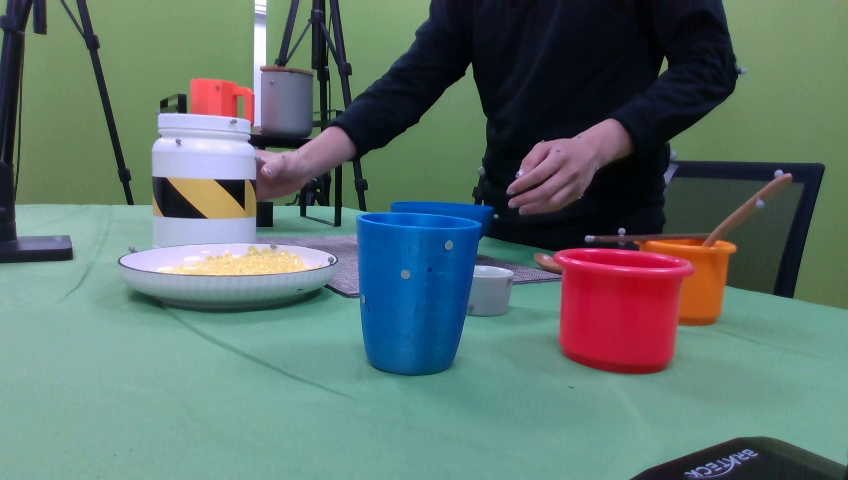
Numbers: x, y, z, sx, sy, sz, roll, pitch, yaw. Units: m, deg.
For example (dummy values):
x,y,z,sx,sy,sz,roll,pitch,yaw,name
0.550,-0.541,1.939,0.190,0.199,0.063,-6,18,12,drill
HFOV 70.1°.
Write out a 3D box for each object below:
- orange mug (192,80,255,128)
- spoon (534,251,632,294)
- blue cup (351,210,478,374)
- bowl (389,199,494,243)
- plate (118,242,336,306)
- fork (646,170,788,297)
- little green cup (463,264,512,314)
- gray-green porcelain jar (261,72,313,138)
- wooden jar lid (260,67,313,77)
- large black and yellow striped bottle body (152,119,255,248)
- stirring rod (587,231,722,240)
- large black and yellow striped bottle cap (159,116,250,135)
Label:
x,y,z,sx,sy,sz,roll,pitch,yaw,name
-0.388,-0.257,1.172,0.126,0.100,0.083,-1,7,9,orange mug
0.193,0.038,0.753,0.042,0.021,0.193,15,2,-21,spoon
-0.009,0.034,0.413,0.093,0.100,0.092,3,8,0,blue cup
0.023,-0.015,0.872,0.151,0.077,0.151,3,7,0,bowl
-0.194,0.033,0.615,0.209,0.038,0.209,2,7,0,plate
0.256,0.004,0.543,0.028,0.018,0.207,3,-36,-9,fork
0.053,0.047,0.579,0.061,0.038,0.061,3,8,0,little green cup
-0.284,-0.276,1.253,0.106,0.126,0.106,2,8,0,gray-green porcelain jar
-0.283,-0.339,1.244,0.108,0.020,0.108,5,9,0,wooden jar lid
-0.296,-0.070,0.819,0.131,0.184,0.130,2,7,0,large black and yellow striped bottle body
0.227,-0.005,0.586,0.177,0.006,0.014,-1,6,-28,stirring rod
-0.292,-0.153,0.810,0.115,0.019,0.115,3,8,0,large black and yellow striped bottle cap
